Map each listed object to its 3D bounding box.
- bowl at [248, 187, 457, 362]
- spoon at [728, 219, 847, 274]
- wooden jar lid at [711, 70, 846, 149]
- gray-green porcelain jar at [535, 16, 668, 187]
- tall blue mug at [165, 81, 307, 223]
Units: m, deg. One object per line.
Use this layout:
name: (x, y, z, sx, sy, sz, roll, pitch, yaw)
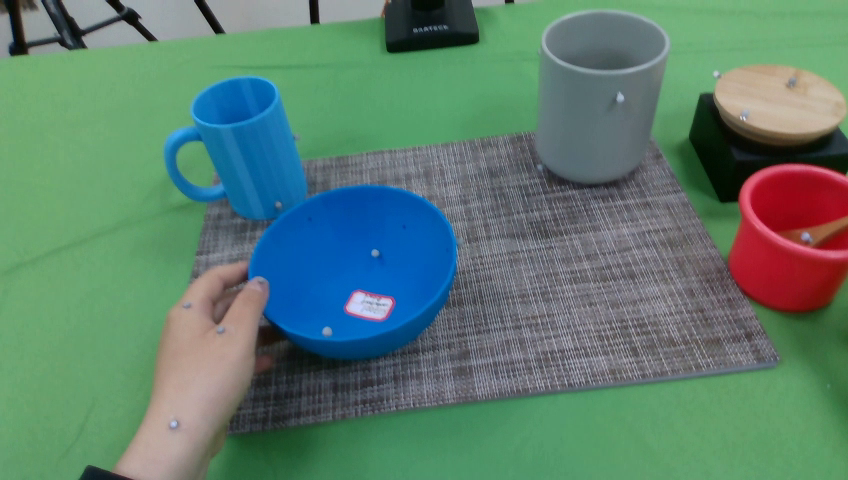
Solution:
bowl: (-0.048, 0.038, 0.460, 0.151, 0.077, 0.150, -3, 46, 3)
spoon: (0.315, -0.013, 0.429, 0.022, 0.193, 0.041, 44, 47, -16)
wooden jar lid: (0.315, -0.117, 0.545, 0.108, 0.021, 0.107, -4, 46, 4)
gray-green porcelain jar: (0.156, -0.121, 0.555, 0.106, 0.128, 0.105, -3, 46, 4)
tall blue mug: (-0.168, -0.071, 0.554, 0.077, 0.109, 0.107, 30, 56, 29)
